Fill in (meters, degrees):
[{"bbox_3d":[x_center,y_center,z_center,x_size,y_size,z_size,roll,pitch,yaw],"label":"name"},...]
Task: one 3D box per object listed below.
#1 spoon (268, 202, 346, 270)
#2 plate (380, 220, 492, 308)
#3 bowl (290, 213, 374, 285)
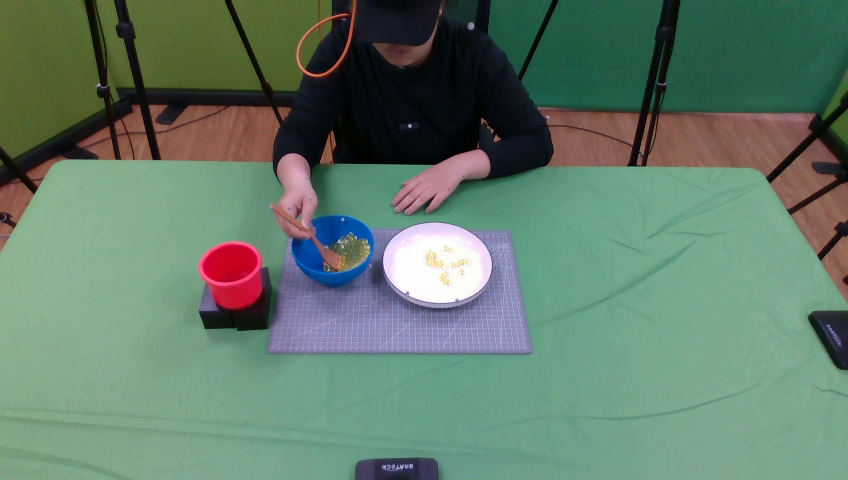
[{"bbox_3d":[-0.203,-0.008,1.068,0.021,0.195,0.041,-25,40,19],"label":"spoon"},{"bbox_3d":[0.022,0.048,1.138,0.208,0.039,0.206,2,46,-2],"label":"plate"},{"bbox_3d":[-0.166,0.030,1.113,0.151,0.077,0.150,2,46,-2],"label":"bowl"}]
